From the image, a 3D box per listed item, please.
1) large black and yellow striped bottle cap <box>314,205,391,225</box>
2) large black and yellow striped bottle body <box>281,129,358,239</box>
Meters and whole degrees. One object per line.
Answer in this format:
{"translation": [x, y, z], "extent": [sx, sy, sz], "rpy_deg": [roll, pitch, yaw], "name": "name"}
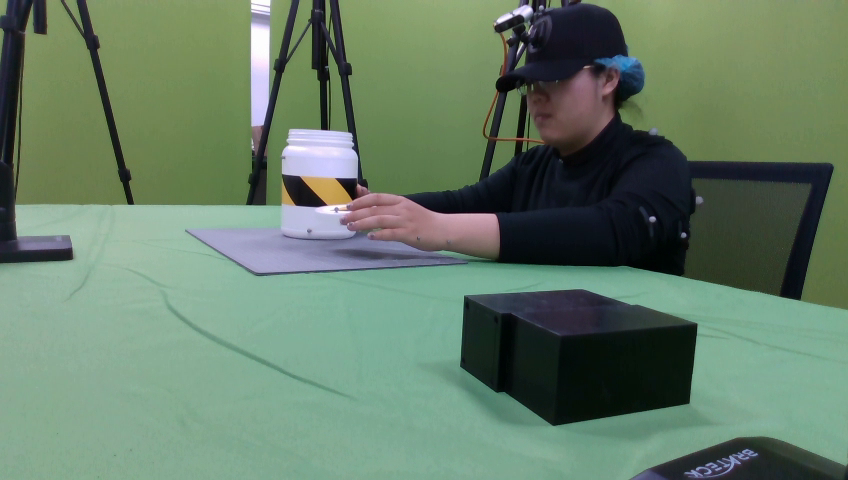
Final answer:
{"translation": [-0.106, -0.038, 0.895], "extent": [0.115, 0.019, 0.115], "rpy_deg": [0, 9, 0], "name": "large black and yellow striped bottle cap"}
{"translation": [-0.181, -0.098, 1.054], "extent": [0.131, 0.184, 0.130], "rpy_deg": [3, 7, 0], "name": "large black and yellow striped bottle body"}
